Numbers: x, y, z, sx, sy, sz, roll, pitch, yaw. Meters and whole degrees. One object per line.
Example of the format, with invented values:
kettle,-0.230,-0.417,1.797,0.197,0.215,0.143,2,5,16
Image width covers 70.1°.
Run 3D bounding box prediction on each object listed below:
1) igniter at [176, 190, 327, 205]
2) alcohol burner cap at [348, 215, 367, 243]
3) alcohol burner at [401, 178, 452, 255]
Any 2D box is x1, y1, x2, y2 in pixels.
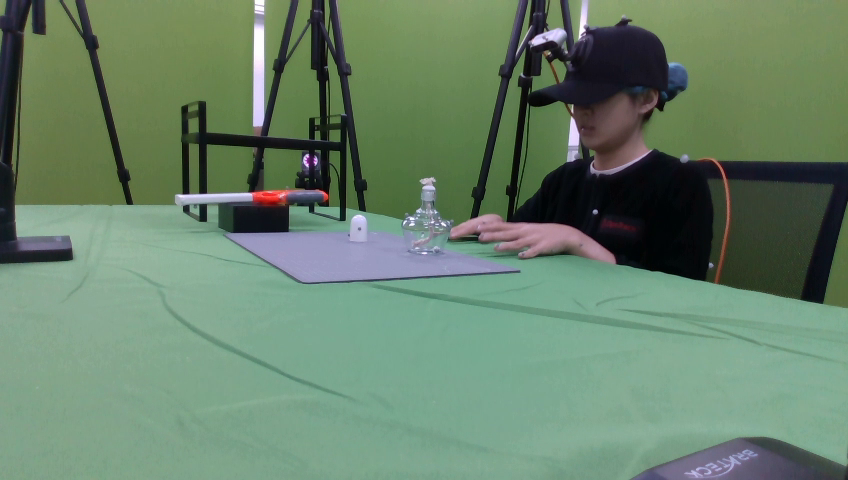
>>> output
igniter,-0.316,-0.080,1.137,0.278,0.025,0.057,-4,12,-33
alcohol burner cap,-0.112,-0.019,1.025,0.034,0.048,0.034,2,6,0
alcohol burner,0.005,-0.036,0.923,0.078,0.119,0.078,5,7,0
